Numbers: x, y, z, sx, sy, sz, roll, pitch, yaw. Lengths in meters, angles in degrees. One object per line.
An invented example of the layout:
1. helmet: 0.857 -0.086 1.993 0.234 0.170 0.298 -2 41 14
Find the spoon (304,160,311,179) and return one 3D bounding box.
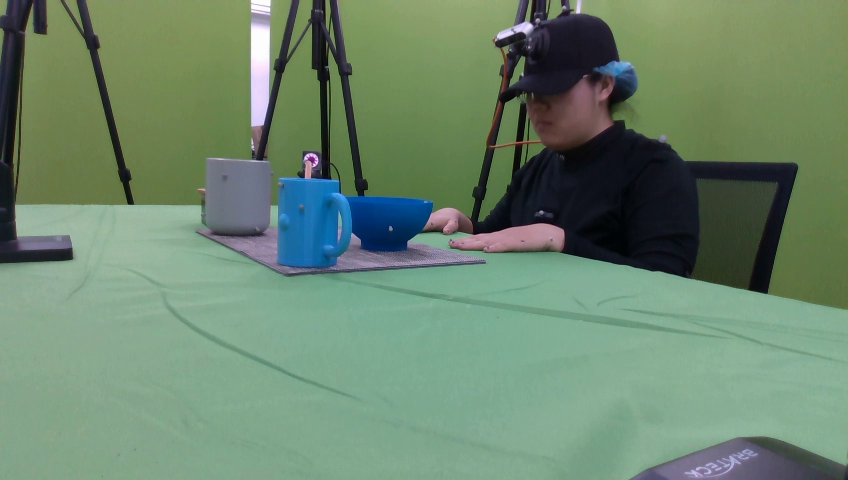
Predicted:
1. spoon: -0.242 -0.103 1.251 0.042 0.021 0.193 0 51 -5

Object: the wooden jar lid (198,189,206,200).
1. wooden jar lid: -0.382 -0.088 1.175 0.108 0.020 0.108 3 8 0

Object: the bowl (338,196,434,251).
1. bowl: -0.061 -0.026 0.943 0.151 0.077 0.151 2 7 0

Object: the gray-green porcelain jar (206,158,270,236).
1. gray-green porcelain jar: -0.317 -0.074 1.032 0.106 0.126 0.106 3 7 0

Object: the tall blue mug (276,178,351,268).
1. tall blue mug: -0.133 -0.023 0.767 0.107 0.108 0.078 4 7 12
